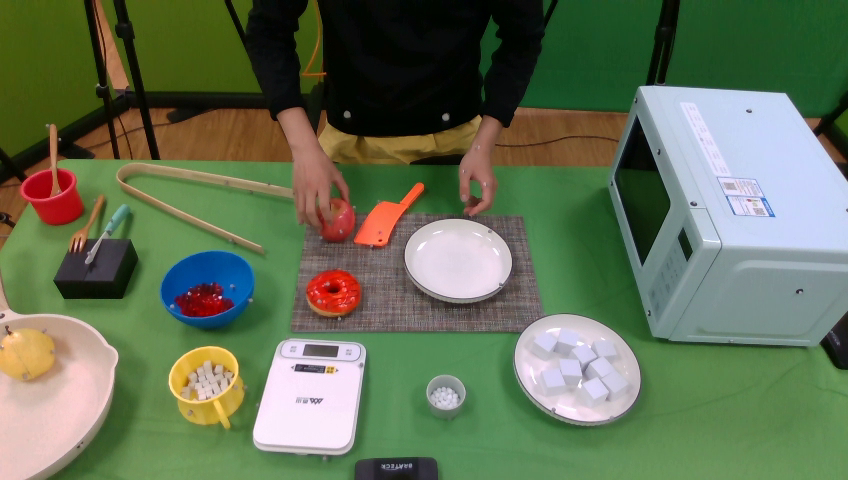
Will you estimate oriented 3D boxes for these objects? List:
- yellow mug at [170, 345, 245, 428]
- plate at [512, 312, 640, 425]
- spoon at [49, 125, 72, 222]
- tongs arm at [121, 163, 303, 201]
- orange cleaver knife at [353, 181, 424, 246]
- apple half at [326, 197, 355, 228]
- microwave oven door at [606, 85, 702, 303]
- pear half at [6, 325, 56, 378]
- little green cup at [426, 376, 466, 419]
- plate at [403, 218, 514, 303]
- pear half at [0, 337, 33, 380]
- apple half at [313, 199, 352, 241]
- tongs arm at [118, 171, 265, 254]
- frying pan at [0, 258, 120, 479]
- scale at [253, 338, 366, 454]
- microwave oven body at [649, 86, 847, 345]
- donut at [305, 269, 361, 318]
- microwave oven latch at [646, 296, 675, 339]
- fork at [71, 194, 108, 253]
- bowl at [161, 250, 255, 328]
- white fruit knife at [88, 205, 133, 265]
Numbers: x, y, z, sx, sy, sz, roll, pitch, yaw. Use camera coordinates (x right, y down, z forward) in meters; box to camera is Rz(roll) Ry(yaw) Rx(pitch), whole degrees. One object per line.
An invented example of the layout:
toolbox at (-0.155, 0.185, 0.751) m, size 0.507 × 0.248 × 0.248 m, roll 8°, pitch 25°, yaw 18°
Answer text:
yellow mug at (-0.322, 0.230, 0.922) m, size 0.100 × 0.064 × 0.130 m, roll -24°, pitch 53°, yaw -25°
plate at (0.246, 0.213, 0.999) m, size 0.208 × 0.039 × 0.206 m, roll 2°, pitch 46°, yaw -2°
spoon at (-0.718, -0.131, 1.189) m, size 0.041 × 0.021 × 0.193 m, roll -4°, pitch 90°, yaw -6°
tongs arm at (-0.444, -0.114, 1.266) m, size 0.384 × 0.026 × 0.050 m, roll 12°, pitch 50°, yaw 7°
orange cleaver knife at (-0.070, -0.059, 1.245) m, size 0.077 × 0.012 × 0.210 m, roll 18°, pitch 50°, yaw 21°
apple half at (-0.161, -0.054, 1.196) m, size 0.081 × 0.081 × 0.033 m, roll 30°, pitch 54°, yaw 23°
microwave oven door at (0.423, -0.094, 1.140) m, size 0.039 × 0.245 × 0.353 m, roll 2°, pitch 46°, yaw -1°
pear half at (-0.608, 0.158, 0.935) m, size 0.076 × 0.110 × 0.056 m, roll 31°, pitch 51°, yaw 20°
little green cup at (0.033, 0.248, 0.950) m, size 0.061 × 0.039 × 0.061 m, roll 2°, pitch 46°, yaw -2°
plate at (0.064, 0.042, 1.146) m, size 0.209 × 0.038 × 0.208 m, roll 2°, pitch 46°, yaw -2°
pear half at (-0.631, 0.184, 0.921) m, size 0.070 × 0.088 × 0.031 m, roll 29°, pitch 49°, yaw 19°
apple half at (-0.184, -0.032, 1.176) m, size 0.080 × 0.075 × 0.053 m, roll 33°, pitch 57°, yaw 21°
tongs arm at (-0.473, -0.055, 1.210) m, size 0.386 × 0.028 × 0.028 m, roll 23°, pitch 56°, yaw 17°
frying pan at (-0.647, 0.164, 0.936) m, size 0.307 × 0.103 × 0.485 m, roll -19°, pitch 58°, yaw -22°
scale at (-0.175, 0.236, 0.951) m, size 0.149 × 0.032 × 0.199 m, roll 4°, pitch 45°, yaw -1°
microwave oven body at (0.567, -0.053, 1.118) m, size 0.326 × 0.261 × 0.439 m, roll 2°, pitch 45°, yaw -1°
donut at (-0.160, 0.094, 1.075) m, size 0.099 × 0.048 × 0.098 m, roll 4°, pitch 45°, yaw -3°
microwave oven latch at (0.412, 0.134, 1.061) m, size 0.030 × 0.029 × 0.078 m, roll 4°, pitch 45°, yaw 1°
fork at (-0.634, -0.036, 1.158) m, size 0.028 × 0.019 × 0.206 m, roll -8°, pitch 32°, yaw -8°
bowl at (-0.362, 0.098, 1.039) m, size 0.151 × 0.077 × 0.150 m, roll 2°, pitch 45°, yaw -2°
white fruit knife at (-0.584, -0.013, 1.129) m, size 0.016 × 0.027 × 0.206 m, roll 0°, pitch 32°, yaw -5°
